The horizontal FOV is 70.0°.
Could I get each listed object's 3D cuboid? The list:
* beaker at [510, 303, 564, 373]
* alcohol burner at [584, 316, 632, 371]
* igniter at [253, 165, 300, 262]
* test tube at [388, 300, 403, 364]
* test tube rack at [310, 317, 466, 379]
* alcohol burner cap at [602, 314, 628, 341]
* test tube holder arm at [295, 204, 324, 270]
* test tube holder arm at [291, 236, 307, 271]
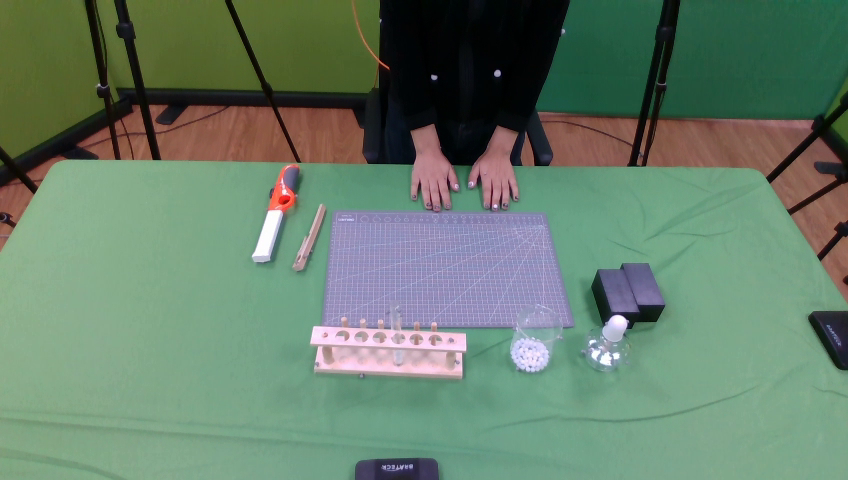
[{"bbox_3d":[0.182,0.164,1.000,0.074,0.101,0.083,2,46,-1],"label":"beaker"},{"bbox_3d":[0.307,0.163,0.999,0.078,0.120,0.077,1,48,-1],"label":"alcohol burner"},{"bbox_3d":[-0.298,-0.063,1.234,0.057,0.025,0.275,-2,45,7],"label":"igniter"},{"bbox_3d":[-0.044,0.146,0.942,0.017,0.151,0.017,-1,44,1],"label":"test tube"},{"bbox_3d":[-0.056,0.171,0.987,0.242,0.085,0.066,3,45,-1],"label":"test tube rack"},{"bbox_3d":[0.309,0.138,0.974,0.034,0.048,0.033,2,52,-2],"label":"alcohol burner cap"},{"bbox_3d":[-0.223,-0.009,1.192,0.013,0.015,0.177,-17,38,26],"label":"test tube holder arm"},{"bbox_3d":[-0.234,0.024,1.163,0.010,0.015,0.087,-16,38,27],"label":"test tube holder arm"}]
